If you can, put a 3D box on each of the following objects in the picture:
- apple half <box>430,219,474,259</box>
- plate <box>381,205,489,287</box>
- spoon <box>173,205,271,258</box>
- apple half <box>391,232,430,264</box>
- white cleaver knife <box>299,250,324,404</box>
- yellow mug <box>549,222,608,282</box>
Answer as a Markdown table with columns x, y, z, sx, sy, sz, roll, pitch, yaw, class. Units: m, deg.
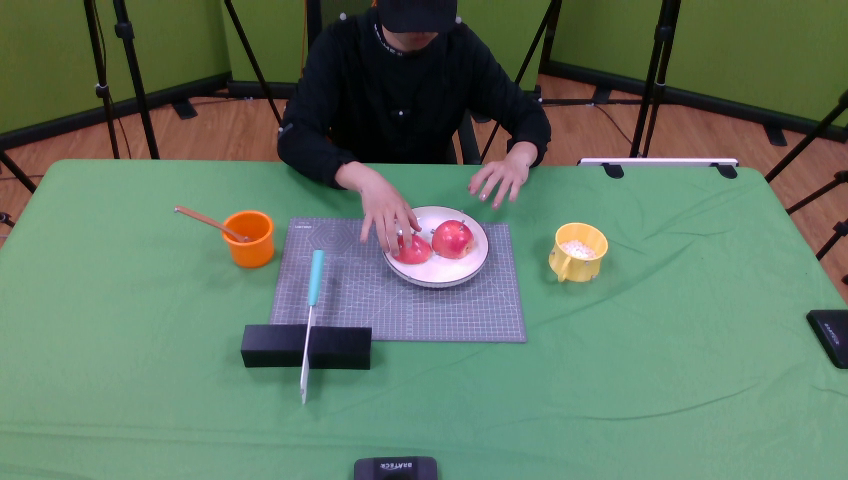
| x | y | z | sx | sy | sz | roll | pitch | yaw | class |
| --- | --- | --- | --- | --- | --- | --- | --- | --- | --- |
| 0.056 | -0.008 | 1.172 | 0.081 | 0.053 | 0.074 | -33 | 59 | -31 | apple half |
| 0.021 | 0.015 | 1.170 | 0.209 | 0.038 | 0.208 | 2 | 46 | -2 | plate |
| -0.362 | -0.017 | 1.098 | 0.021 | 0.195 | 0.041 | -32 | 42 | 27 | spoon |
| -0.024 | 0.009 | 1.162 | 0.081 | 0.033 | 0.081 | 2 | 44 | -2 | apple half |
| -0.194 | 0.134 | 1.019 | 0.021 | 0.066 | 0.284 | 5 | 50 | -5 | white cleaver knife |
| 0.287 | 0.031 | 1.159 | 0.099 | 0.064 | 0.130 | 27 | 51 | 21 | yellow mug |
